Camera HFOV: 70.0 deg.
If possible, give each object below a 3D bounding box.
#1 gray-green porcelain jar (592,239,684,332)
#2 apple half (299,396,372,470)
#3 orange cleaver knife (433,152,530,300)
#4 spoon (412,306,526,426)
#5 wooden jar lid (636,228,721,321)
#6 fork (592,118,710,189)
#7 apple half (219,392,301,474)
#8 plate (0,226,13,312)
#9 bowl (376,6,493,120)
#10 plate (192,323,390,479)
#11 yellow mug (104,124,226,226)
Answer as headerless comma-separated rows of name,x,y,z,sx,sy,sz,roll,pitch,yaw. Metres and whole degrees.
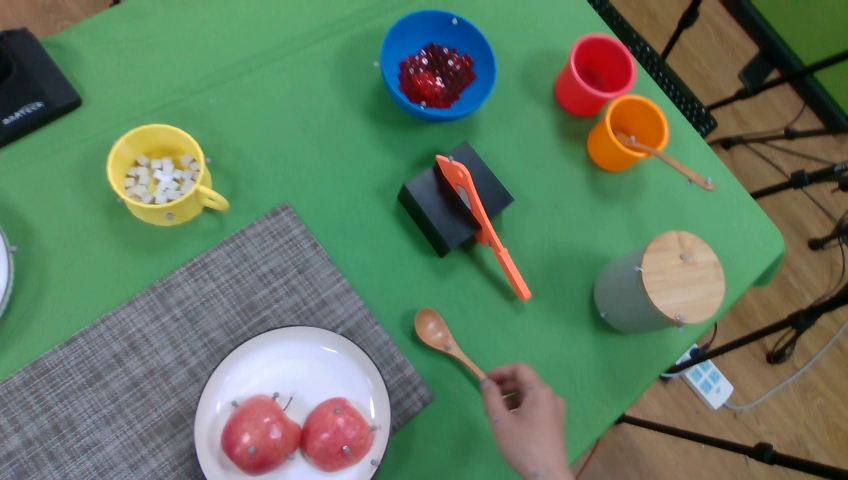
gray-green porcelain jar,0.277,0.057,0.754,0.106,0.127,0.105,3,74,-11
apple half,-0.098,0.213,0.664,0.081,0.033,0.081,3,72,-9
orange cleaver knife,0.070,-0.016,0.750,0.012,0.076,0.212,-35,108,-15
spoon,0.056,0.155,0.733,0.193,0.022,0.041,45,51,2
wooden jar lid,0.289,0.040,0.695,0.109,0.021,0.108,3,76,-13
fork,0.292,-0.116,0.791,0.028,0.019,0.205,-21,37,-17
apple half,-0.175,0.204,0.640,0.074,0.053,0.080,-40,87,-16
plate,-0.536,0.040,0.622,0.208,0.039,0.206,3,75,-12
bowl,0.007,-0.216,0.791,0.152,0.077,0.150,3,75,-12
plate,-0.143,0.197,0.665,0.210,0.038,0.208,3,75,-12
yellow mug,-0.287,-0.066,0.692,0.131,0.064,0.099,25,70,-6
